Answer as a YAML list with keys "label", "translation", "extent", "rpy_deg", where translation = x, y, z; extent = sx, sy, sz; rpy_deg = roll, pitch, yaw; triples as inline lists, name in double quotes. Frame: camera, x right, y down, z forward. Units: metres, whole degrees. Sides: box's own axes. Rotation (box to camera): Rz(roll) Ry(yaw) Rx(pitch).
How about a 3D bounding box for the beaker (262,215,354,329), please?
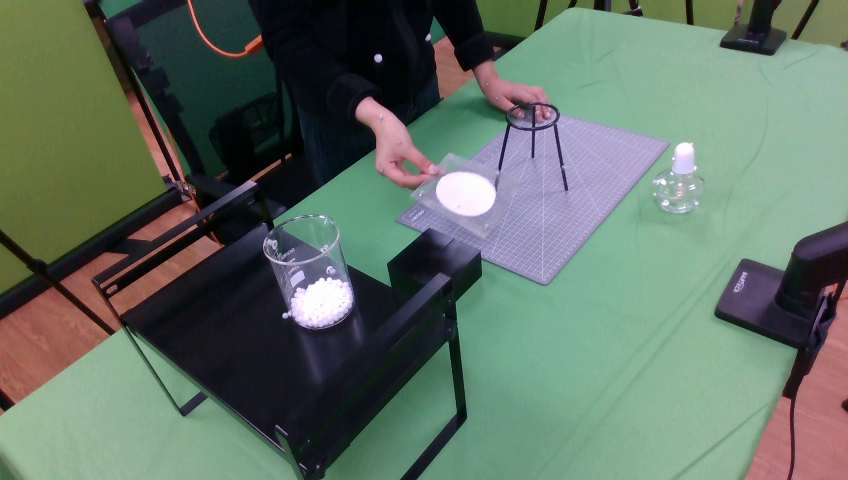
- label: "beaker"
  translation: [-0.112, 0.034, 0.616]
  extent: [0.073, 0.101, 0.084]
  rpy_deg: [13, 44, 23]

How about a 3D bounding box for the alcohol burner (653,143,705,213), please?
- label: "alcohol burner"
  translation: [0.408, -0.102, 0.963]
  extent: [0.078, 0.119, 0.077]
  rpy_deg: [-5, 42, 5]

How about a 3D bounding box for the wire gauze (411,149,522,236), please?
- label: "wire gauze"
  translation: [0.061, -0.073, 0.854]
  extent: [0.124, 0.011, 0.121]
  rpy_deg: [27, 53, 14]

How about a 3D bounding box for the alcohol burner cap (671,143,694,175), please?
- label: "alcohol burner cap"
  translation: [0.403, -0.129, 0.941]
  extent: [0.034, 0.048, 0.033]
  rpy_deg: [-9, 40, 8]

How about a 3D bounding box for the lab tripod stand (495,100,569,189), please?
- label: "lab tripod stand"
  translation: [0.186, -0.161, 1.043]
  extent: [0.148, 0.132, 0.147]
  rpy_deg: [-4, 43, 4]
